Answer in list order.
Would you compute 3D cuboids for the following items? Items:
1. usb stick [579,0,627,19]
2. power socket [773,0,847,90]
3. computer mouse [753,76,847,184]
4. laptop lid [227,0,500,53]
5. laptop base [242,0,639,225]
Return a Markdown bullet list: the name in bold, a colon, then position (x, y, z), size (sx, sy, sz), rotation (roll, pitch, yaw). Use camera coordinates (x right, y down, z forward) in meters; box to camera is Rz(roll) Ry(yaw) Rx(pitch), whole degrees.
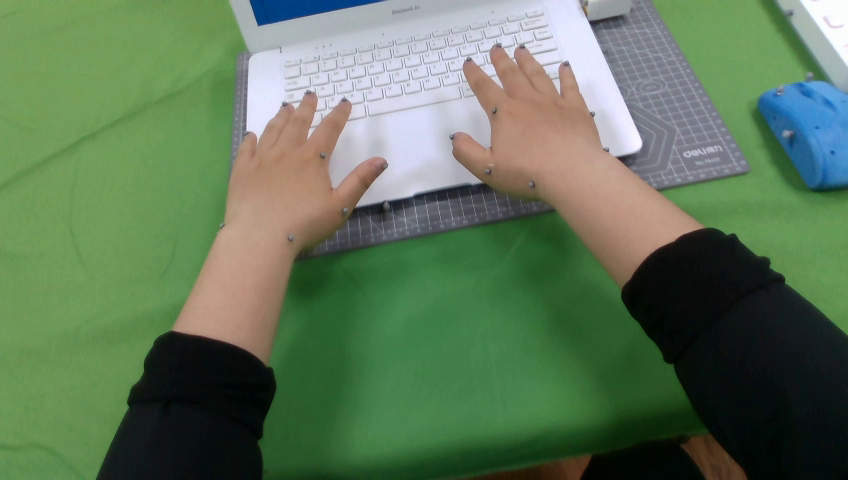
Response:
- **usb stick**: position (0.175, -0.245, 0.619), size (0.059, 0.027, 0.021), rotation (-11, 56, 6)
- **power socket**: position (0.387, -0.223, 0.576), size (0.072, 0.033, 0.224), rotation (-8, 55, 4)
- **computer mouse**: position (0.324, -0.097, 0.498), size (0.063, 0.041, 0.116), rotation (-11, 50, 4)
- **laptop lid**: position (-0.037, -0.317, 0.576), size (0.357, 0.244, 0.013), rotation (-12, 42, 3)
- **laptop base**: position (-0.001, -0.137, 0.589), size (0.354, 0.023, 0.233), rotation (-11, 58, 1)
